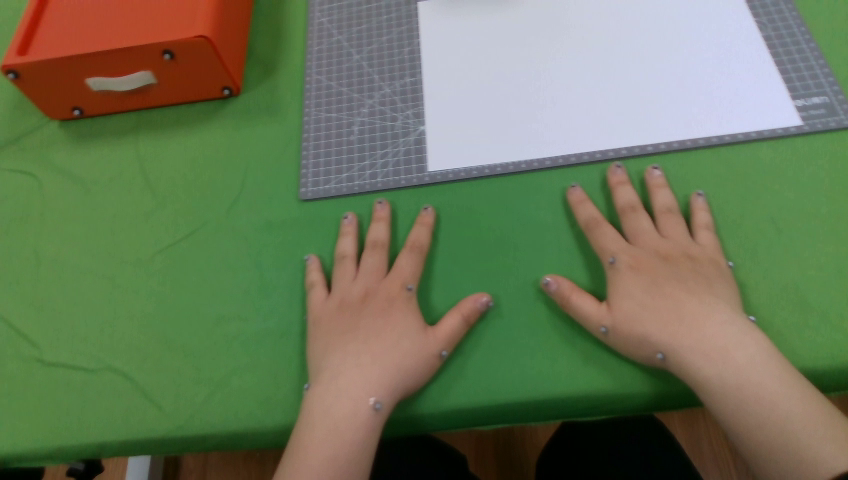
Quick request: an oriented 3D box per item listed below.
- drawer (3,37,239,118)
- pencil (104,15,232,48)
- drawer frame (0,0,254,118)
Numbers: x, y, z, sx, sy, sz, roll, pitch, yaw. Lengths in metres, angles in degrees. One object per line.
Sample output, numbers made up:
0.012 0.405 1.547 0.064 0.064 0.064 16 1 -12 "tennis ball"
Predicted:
-0.278 -0.231 0.606 0.194 0.074 0.210 -6 59 6 "drawer"
-0.273 -0.220 0.632 0.193 0.012 0.012 19 65 25 "pencil"
-0.279 -0.233 0.605 0.201 0.083 0.211 -7 59 6 "drawer frame"
